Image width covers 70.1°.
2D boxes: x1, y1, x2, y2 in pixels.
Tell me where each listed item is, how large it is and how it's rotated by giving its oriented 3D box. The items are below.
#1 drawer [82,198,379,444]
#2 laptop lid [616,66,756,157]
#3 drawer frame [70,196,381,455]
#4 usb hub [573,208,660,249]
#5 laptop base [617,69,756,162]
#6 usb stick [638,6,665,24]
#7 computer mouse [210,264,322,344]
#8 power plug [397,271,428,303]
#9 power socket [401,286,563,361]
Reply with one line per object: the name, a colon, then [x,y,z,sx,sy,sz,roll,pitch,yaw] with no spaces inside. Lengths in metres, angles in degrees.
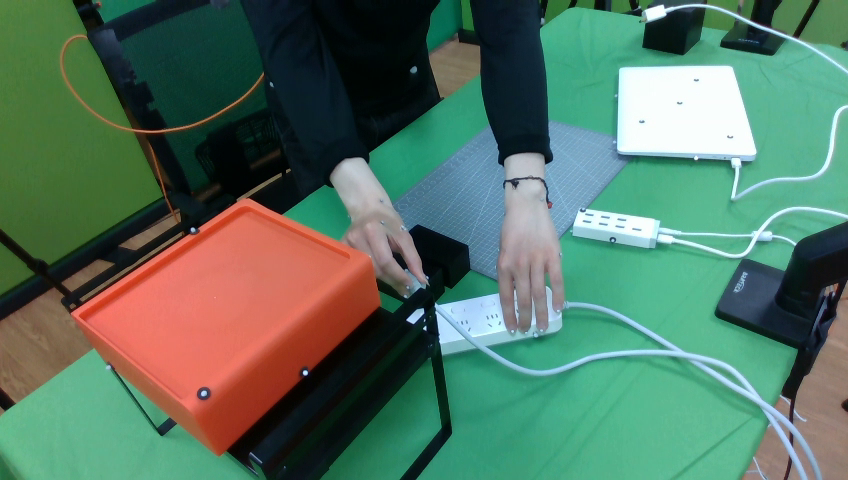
drawer: [-0.185,0.066,0.600,0.193,0.073,0.212,24,50,31]
laptop lid: [0.503,-0.265,1.196,0.241,0.013,0.356,5,41,16]
drawer frame: [-0.186,0.068,0.597,0.200,0.083,0.214,23,49,30]
usb hub: [0.302,-0.019,0.949,0.124,0.025,0.049,11,42,20]
laptop base: [0.507,-0.256,1.204,0.235,0.023,0.353,3,41,15]
usb stick: [0.503,-0.499,1.347,0.059,0.027,0.021,-21,5,-2]
computer mouse: [-0.164,0.062,0.625,0.116,0.041,0.063,22,44,27]
power plug: [-0.012,0.069,0.746,0.035,0.053,0.072,-23,43,4]
power socket: [0.080,0.112,0.822,0.227,0.033,0.071,-10,41,-5]
